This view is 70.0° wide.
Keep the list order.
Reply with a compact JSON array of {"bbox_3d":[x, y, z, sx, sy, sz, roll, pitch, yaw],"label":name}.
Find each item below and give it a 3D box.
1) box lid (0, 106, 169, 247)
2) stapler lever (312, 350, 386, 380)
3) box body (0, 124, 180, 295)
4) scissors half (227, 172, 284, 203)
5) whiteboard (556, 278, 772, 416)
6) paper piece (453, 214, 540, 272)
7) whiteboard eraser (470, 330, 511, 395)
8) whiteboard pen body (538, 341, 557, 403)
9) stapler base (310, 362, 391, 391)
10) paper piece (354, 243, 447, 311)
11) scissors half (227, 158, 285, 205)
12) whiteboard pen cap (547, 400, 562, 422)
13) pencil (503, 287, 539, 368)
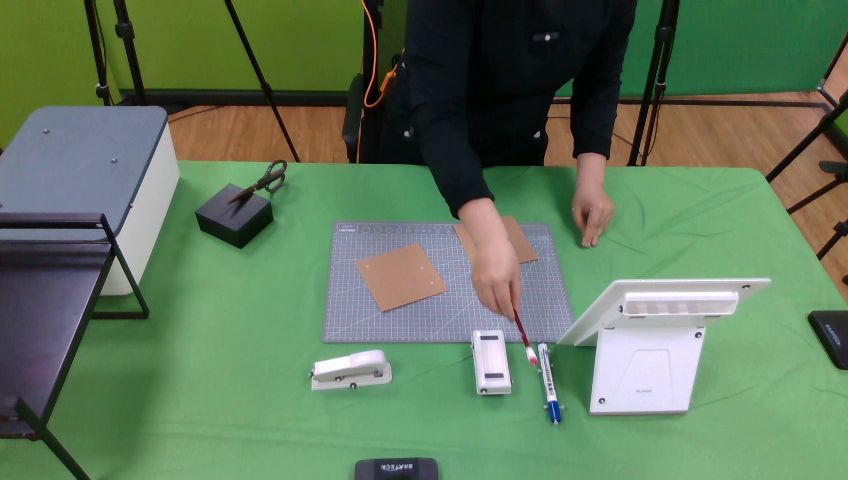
[{"bbox_3d":[-0.624,-0.125,1.067,0.263,0.015,0.369,0,46,-3],"label":"box lid"},{"bbox_3d":[-0.120,0.199,0.963,0.118,0.040,0.026,-4,44,-8],"label":"stapler lever"},{"bbox_3d":[-0.628,-0.075,1.122,0.254,0.161,0.361,1,46,-4],"label":"box body"},{"bbox_3d":[-0.340,-0.101,1.231,0.013,0.040,0.175,21,28,18],"label":"scissors half"},{"bbox_3d":[0.347,0.174,0.903,0.217,0.306,0.143,1,65,-4],"label":"whiteboard"},{"bbox_3d":[0.142,0.003,1.213,0.135,0.004,0.135,-11,47,-14],"label":"paper piece"},{"bbox_3d":[0.110,0.202,0.998,0.055,0.042,0.112,1,46,-5],"label":"whiteboard eraser"},{"bbox_3d":[0.205,0.228,0.997,0.017,0.017,0.140,1,46,-3],"label":"whiteboard pen body"},{"bbox_3d":[-0.119,0.215,0.980,0.131,0.024,0.041,-5,44,-7],"label":"stapler base"},{"bbox_3d":[-0.046,0.066,1.137,0.136,0.009,0.137,-13,47,-22],"label":"paper piece"},{"bbox_3d":[-0.337,-0.117,1.219,0.013,0.040,0.175,25,47,14],"label":"scissors half"},{"bbox_3d":[0.205,0.269,0.956,0.018,0.018,0.033,-1,48,-5],"label":"whiteboard pen cap"},{"bbox_3d":[0.146,0.129,0.937,0.012,0.012,0.193,-3,31,-7],"label":"pencil"}]
